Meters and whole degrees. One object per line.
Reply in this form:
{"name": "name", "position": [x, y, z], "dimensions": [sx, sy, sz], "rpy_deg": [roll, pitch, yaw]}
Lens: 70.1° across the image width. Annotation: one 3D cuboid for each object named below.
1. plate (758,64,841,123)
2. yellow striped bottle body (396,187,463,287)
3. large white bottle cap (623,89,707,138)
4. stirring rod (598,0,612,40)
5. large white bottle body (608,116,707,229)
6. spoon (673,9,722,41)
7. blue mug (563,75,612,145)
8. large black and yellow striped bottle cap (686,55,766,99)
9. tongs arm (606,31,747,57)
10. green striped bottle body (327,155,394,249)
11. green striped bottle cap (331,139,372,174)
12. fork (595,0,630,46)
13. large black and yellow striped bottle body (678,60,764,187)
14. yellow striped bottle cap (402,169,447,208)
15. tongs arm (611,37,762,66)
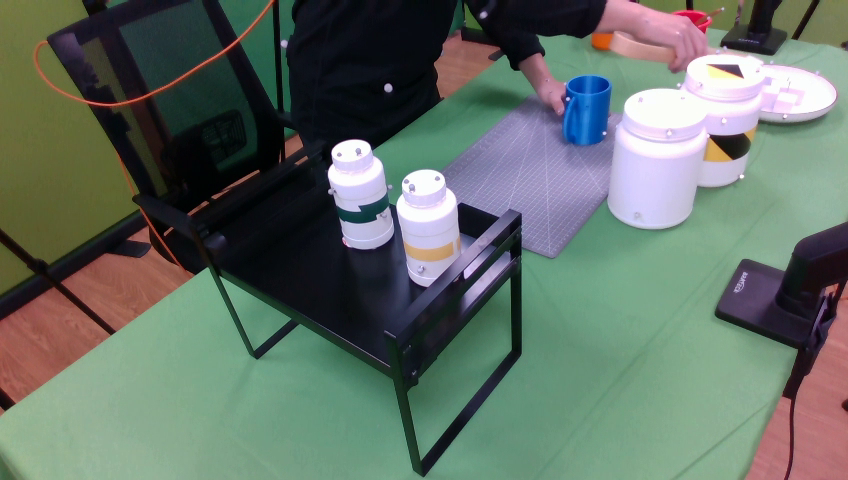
{"name": "plate", "position": [0.694, -0.283, 1.189], "dimensions": [0.207, 0.039, 0.206], "rpy_deg": [-4, 40, 4]}
{"name": "yellow striped bottle body", "position": [0.006, -0.013, 0.638], "dimensions": [0.063, 0.121, 0.062], "rpy_deg": [-5, 41, 4]}
{"name": "large white bottle cap", "position": [0.352, -0.187, 0.886], "dimensions": [0.115, 0.018, 0.114], "rpy_deg": [-4, 41, 4]}
{"name": "stirring rod", "position": [0.437, -0.551, 1.462], "dimensions": [0.014, 0.006, 0.175], "rpy_deg": [-11, 83, 1]}
{"name": "large white bottle body", "position": [0.361, -0.123, 0.942], "dimensions": [0.130, 0.185, 0.130], "rpy_deg": [-5, 41, 4]}
{"name": "spoon", "position": [0.606, -0.476, 1.345], "dimensions": [0.042, 0.021, 0.193], "rpy_deg": [-6, -3, -2]}
{"name": "blue mug", "position": [0.299, -0.239, 1.143], "dimensions": [0.081, 0.106, 0.117], "rpy_deg": [30, 54, 35]}
{"name": "large black and yellow striped bottle cap", "position": [0.474, -0.258, 0.952], "dimensions": [0.115, 0.019, 0.114], "rpy_deg": [-5, 41, 5]}
{"name": "tongs arm", "position": [0.470, -0.340, 1.090], "dimensions": [0.388, 0.026, 0.050], "rpy_deg": [-2, 40, -28]}
{"name": "green striped bottle body", "position": [-0.073, -0.053, 0.699], "dimensions": [0.063, 0.120, 0.063], "rpy_deg": [-5, 41, 4]}
{"name": "green striped bottle cap", "position": [-0.080, -0.092, 0.665], "dimensions": [0.044, 0.020, 0.044], "rpy_deg": [-3, 40, 3]}
{"name": "fork", "position": [0.480, -0.556, 1.452], "dimensions": [0.028, 0.019, 0.207], "rpy_deg": [41, 103, 40]}
{"name": "large black and yellow striped bottle body", "position": [0.482, -0.196, 1.007], "dimensions": [0.131, 0.185, 0.130], "rpy_deg": [-4, 41, 4]}
{"name": "yellow striped bottle cap", "position": [0.000, -0.052, 0.605], "dimensions": [0.044, 0.019, 0.044], "rpy_deg": [-4, 43, 5]}
{"name": "tongs arm", "position": [0.481, -0.325, 1.074], "dimensions": [0.390, 0.028, 0.028], "rpy_deg": [-5, 45, -31]}
